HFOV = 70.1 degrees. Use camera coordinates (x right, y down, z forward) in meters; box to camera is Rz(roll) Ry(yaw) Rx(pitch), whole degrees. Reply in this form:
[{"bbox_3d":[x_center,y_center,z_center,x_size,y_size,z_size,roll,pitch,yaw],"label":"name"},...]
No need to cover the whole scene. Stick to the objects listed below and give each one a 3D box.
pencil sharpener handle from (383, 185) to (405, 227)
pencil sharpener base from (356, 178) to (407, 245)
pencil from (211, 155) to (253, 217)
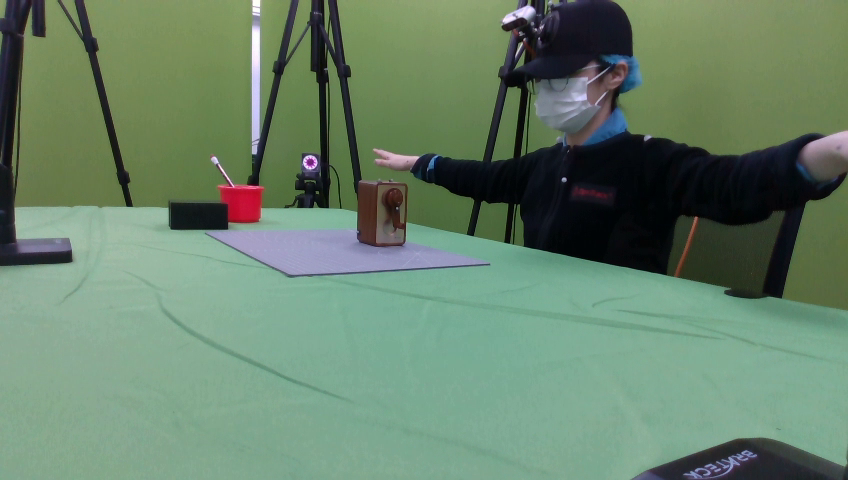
[{"bbox_3d":[-0.043,-0.054,0.975,0.036,0.067,0.030,-10,13,-31],"label":"pencil sharpener handle"},{"bbox_3d":[-0.071,-0.049,1.018,0.062,0.107,0.076,-2,9,-32],"label":"pencil sharpener base"},{"bbox_3d":[-0.422,-0.120,1.331,0.012,0.012,0.193,-8,53,-52],"label":"pencil"}]
